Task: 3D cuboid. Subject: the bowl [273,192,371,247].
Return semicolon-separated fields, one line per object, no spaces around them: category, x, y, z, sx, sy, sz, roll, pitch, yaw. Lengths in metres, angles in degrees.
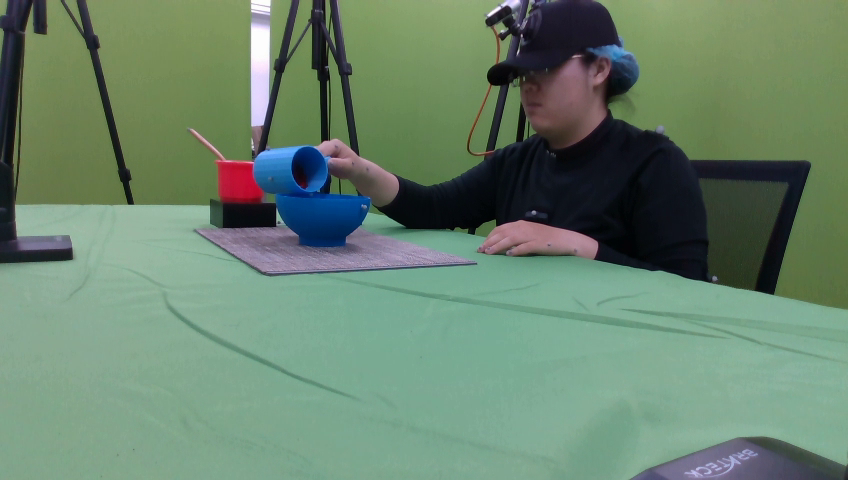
bowl;-0.161;-0.032;0.959;0.151;0.077;0.151;3;7;0

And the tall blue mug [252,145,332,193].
tall blue mug;-0.218;-0.128;1.023;0.107;0.078;0.107;2;48;42

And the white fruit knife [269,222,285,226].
white fruit knife;-0.222;-0.037;1.261;0.208;0.016;0.027;-4;-17;-32

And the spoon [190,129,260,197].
spoon;-0.388;-0.150;1.174;0.193;0.021;0.042;48;19;7
